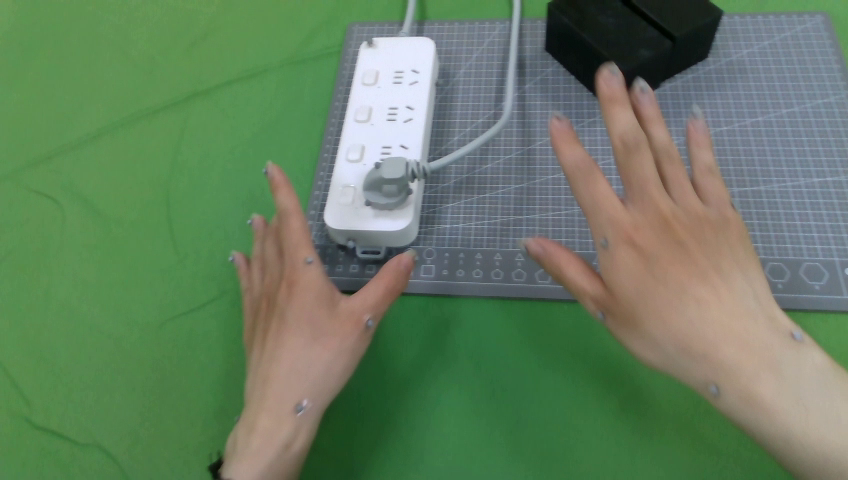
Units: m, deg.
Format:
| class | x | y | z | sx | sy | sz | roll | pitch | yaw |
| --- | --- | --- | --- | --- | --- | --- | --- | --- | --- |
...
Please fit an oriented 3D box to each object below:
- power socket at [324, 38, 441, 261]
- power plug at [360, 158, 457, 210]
| class | x | y | z | sx | sy | sz | roll | pitch | yaw |
| --- | --- | --- | --- | --- | --- | --- | --- | --- | --- |
| power socket | -0.031 | -0.089 | 0.514 | 0.072 | 0.033 | 0.225 | 3 | 60 | 9 |
| power plug | -0.013 | -0.035 | 0.453 | 0.072 | 0.053 | 0.035 | 13 | 62 | 14 |
